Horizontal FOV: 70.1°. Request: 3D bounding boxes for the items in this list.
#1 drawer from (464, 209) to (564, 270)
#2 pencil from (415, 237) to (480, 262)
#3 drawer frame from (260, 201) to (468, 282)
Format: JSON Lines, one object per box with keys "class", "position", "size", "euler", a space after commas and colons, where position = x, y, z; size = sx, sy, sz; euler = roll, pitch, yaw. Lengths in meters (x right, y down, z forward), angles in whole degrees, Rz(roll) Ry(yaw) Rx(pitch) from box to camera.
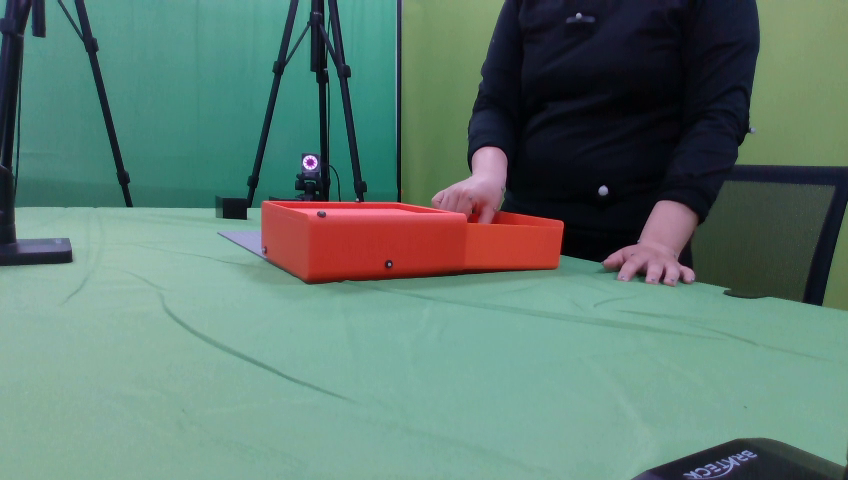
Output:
{"class": "drawer", "position": [0.059, -0.006, 0.879], "size": [0.213, 0.073, 0.193], "euler": [1, 8, -31]}
{"class": "pencil", "position": [0.040, 0.011, 0.874], "size": [0.012, 0.012, 0.195], "euler": [7, 12, 30]}
{"class": "drawer frame", "position": [-0.084, -0.006, 0.794], "size": [0.215, 0.082, 0.200], "euler": [-2, 9, -30]}
